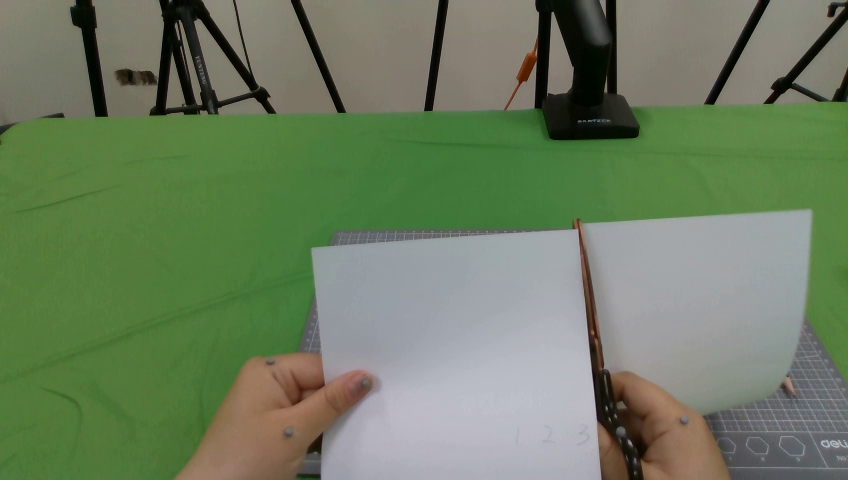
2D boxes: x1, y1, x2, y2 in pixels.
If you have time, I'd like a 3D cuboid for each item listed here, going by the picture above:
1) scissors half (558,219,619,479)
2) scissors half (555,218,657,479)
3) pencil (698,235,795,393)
[{"bbox_3d":[0.098,0.072,0.360,0.013,0.175,0.040,-15,7,-10],"label":"scissors half"},{"bbox_3d":[0.100,0.070,0.340,0.013,0.040,0.174,-15,81,-5],"label":"scissors half"},{"bbox_3d":[0.286,0.058,0.544,0.012,0.012,0.192,-3,39,0],"label":"pencil"}]
